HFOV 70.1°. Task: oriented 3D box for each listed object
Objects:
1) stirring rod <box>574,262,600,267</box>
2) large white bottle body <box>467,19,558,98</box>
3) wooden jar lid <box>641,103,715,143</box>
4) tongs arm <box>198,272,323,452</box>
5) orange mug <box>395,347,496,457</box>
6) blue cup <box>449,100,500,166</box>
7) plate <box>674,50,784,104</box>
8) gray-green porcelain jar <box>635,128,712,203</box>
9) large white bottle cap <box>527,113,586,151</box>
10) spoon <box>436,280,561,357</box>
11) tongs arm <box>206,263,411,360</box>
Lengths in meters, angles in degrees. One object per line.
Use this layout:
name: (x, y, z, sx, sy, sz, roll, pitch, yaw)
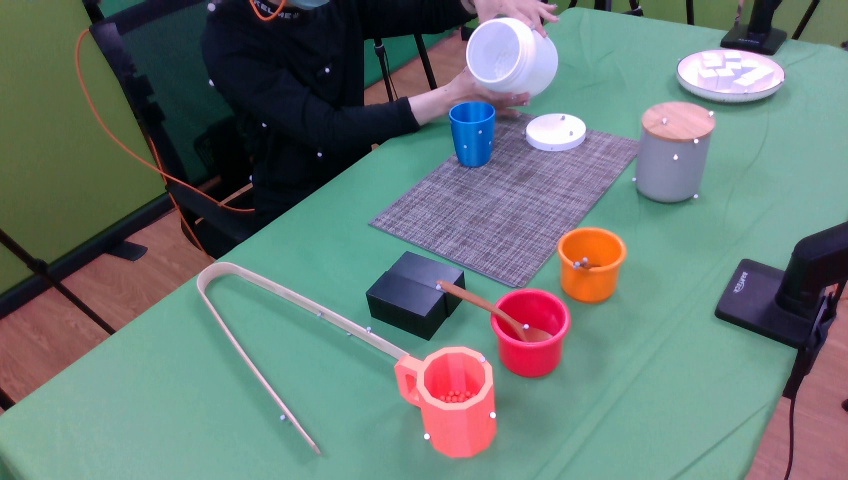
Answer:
stirring rod: (0.222, 0.033, 0.816, 0.014, 0.006, 0.177, 7, 0, 22)
large white bottle body: (0.168, -0.346, 1.157, 0.130, 0.130, 0.186, 17, 15, 26)
wooden jar lid: (0.398, -0.180, 0.952, 0.108, 0.021, 0.108, -4, 43, 4)
tongs arm: (-0.236, 0.153, 0.829, 0.028, 0.028, 0.384, -36, 47, -19)
orange mug: (0.024, 0.181, 0.703, 0.125, 0.101, 0.083, 21, 48, 23)
blue cup: (0.091, -0.195, 1.123, 0.092, 0.100, 0.092, -3, 40, 3)
plate: (0.631, -0.336, 1.262, 0.207, 0.039, 0.206, -4, 41, 4)
gray-green porcelain jar: (0.404, -0.133, 0.992, 0.106, 0.127, 0.105, -4, 40, 4)
large white bottle cap: (0.259, -0.213, 1.184, 0.115, 0.018, 0.114, -4, 41, 4)
spoon: (0.096, 0.095, 0.757, 0.195, 0.021, 0.041, 34, 41, -20)
tongs arm: (-0.179, 0.106, 0.870, 0.381, 0.026, 0.051, 23, 53, 32)
